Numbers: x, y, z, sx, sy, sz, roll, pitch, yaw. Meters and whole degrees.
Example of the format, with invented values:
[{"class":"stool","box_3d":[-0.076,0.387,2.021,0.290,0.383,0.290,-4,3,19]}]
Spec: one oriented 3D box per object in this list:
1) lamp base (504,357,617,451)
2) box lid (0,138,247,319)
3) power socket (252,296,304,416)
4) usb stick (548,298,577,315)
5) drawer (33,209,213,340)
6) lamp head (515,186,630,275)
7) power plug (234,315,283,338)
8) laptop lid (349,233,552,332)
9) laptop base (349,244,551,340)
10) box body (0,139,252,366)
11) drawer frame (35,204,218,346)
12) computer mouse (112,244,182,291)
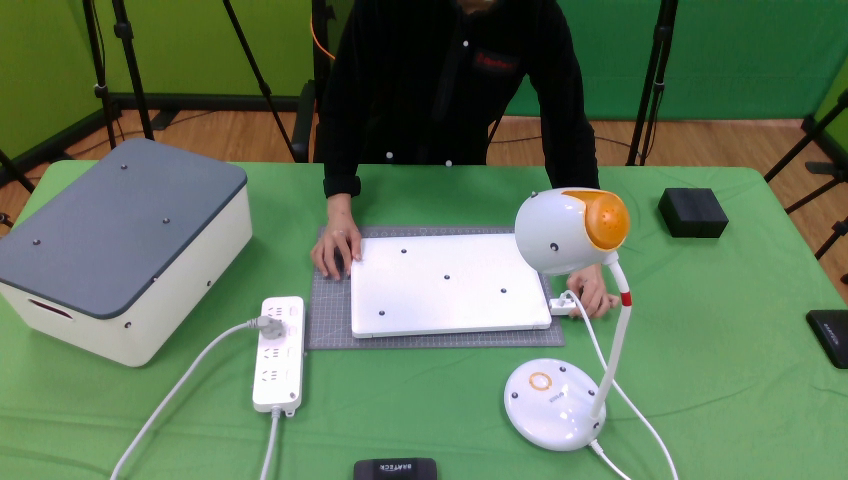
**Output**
[{"class":"lamp base","box_3d":[0.220,0.211,0.903,0.160,0.181,0.178,-32,59,-30]},{"class":"box lid","box_3d":[-0.493,-0.037,0.994,0.263,0.015,0.370,17,46,12]},{"class":"power socket","box_3d":[-0.237,0.182,0.997,0.072,0.033,0.225,-3,47,-5]},{"class":"usb stick","box_3d":[0.241,0.119,1.085,0.059,0.027,0.021,-3,51,-1]},{"class":"drawer","box_3d":[-0.509,0.054,1.046,0.194,0.073,0.211,15,43,10]},{"class":"lamp head","box_3d":[0.188,-0.013,0.728,0.112,0.112,0.122,-25,9,-25]},{"class":"power plug","box_3d":[-0.269,0.143,1.000,0.072,0.053,0.035,4,47,2]},{"class":"laptop lid","box_3d":[0.040,0.071,1.119,0.357,0.013,0.240,-1,44,-5]},{"class":"laptop base","box_3d":[0.040,0.081,1.126,0.355,0.023,0.234,-2,43,-6]},{"class":"box body","box_3d":[-0.496,0.013,1.048,0.254,0.161,0.362,17,47,12]},{"class":"drawer frame","box_3d":[-0.505,0.054,1.052,0.201,0.083,0.212,14,52,12]},{"class":"computer mouse","box_3d":[-0.493,0.046,1.078,0.117,0.041,0.062,24,41,13]}]
